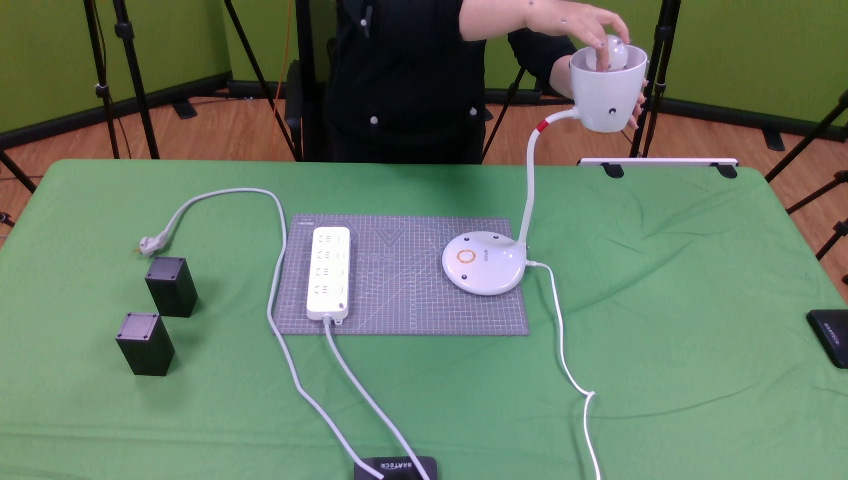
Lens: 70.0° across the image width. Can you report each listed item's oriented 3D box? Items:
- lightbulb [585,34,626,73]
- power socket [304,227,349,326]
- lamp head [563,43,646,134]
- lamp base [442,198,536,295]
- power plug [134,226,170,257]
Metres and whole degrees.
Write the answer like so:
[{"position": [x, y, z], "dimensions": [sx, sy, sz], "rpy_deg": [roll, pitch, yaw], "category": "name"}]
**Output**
[{"position": [0.274, -0.255, 0.914], "dimensions": [0.059, 0.108, 0.059], "rpy_deg": [-8, 33, 5], "category": "lightbulb"}, {"position": [-0.177, 0.059, 1.115], "dimensions": [0.072, 0.033, 0.225], "rpy_deg": [-1, 46, -4], "category": "power socket"}, {"position": [0.274, -0.226, 0.931], "dimensions": [0.112, 0.123, 0.112], "rpy_deg": [-2, 38, 1], "category": "lamp head"}, {"position": [0.130, -0.012, 1.105], "dimensions": [0.179, 0.181, 0.159], "rpy_deg": [-1, 46, -9], "category": "lamp base"}, {"position": [-0.515, 0.006, 1.153], "dimensions": [0.052, 0.035, 0.072], "rpy_deg": [-6, 24, 6], "category": "power plug"}]
